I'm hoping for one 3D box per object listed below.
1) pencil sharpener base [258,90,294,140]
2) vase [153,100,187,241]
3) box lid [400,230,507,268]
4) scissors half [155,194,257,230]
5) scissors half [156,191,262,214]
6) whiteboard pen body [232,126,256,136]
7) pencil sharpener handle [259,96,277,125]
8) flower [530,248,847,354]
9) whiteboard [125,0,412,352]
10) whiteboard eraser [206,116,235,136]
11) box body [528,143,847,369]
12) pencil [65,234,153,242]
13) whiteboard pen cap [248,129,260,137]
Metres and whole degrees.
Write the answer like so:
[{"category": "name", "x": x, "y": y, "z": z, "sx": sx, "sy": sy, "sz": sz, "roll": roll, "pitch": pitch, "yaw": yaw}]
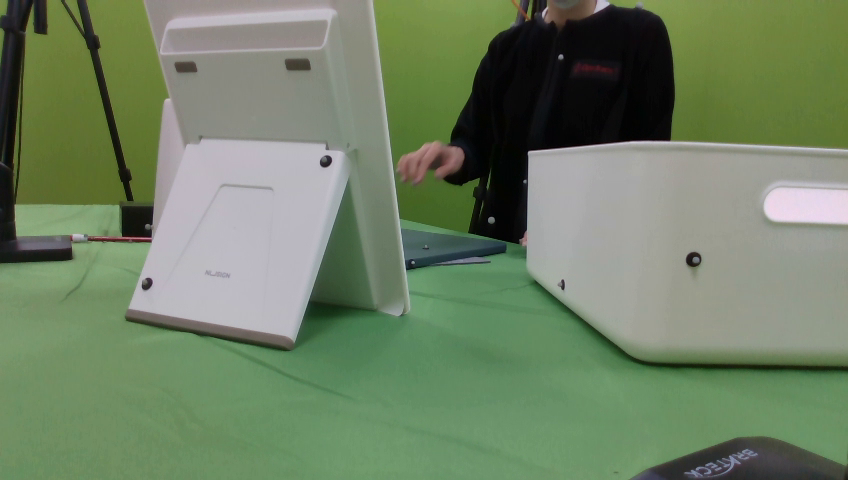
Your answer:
[{"category": "pencil sharpener base", "x": -0.341, "y": -0.285, "z": 1.388, "sx": 0.062, "sy": 0.107, "sz": 0.076, "roll": -3, "pitch": 9, "yaw": -36}, {"category": "vase", "x": -0.278, "y": -0.066, "z": 0.736, "sx": 0.098, "sy": 0.200, "sz": 0.098, "roll": 2, "pitch": 9, "yaw": 0}, {"category": "box lid", "x": -0.065, "y": 0.011, "z": 0.933, "sx": 0.262, "sy": 0.015, "sz": 0.373, "roll": 7, "pitch": 8, "yaw": 36}, {"category": "scissors half", "x": -0.378, "y": -0.051, "z": 1.058, "sx": 0.176, "sy": 0.040, "sz": 0.012, "roll": 20, "pitch": 22, "yaw": -31}, {"category": "scissors half", "x": -0.371, "y": -0.069, "z": 1.051, "sx": 0.176, "sy": 0.040, "sz": 0.013, "roll": 2, "pitch": 25, "yaw": -24}, {"category": "whiteboard pen body", "x": -0.407, "y": -0.247, "z": 1.372, "sx": 0.017, "sy": 0.017, "sz": 0.140, "roll": -3, "pitch": 13, "yaw": -35}, {"category": "pencil sharpener handle", "x": -0.373, "y": -0.304, "z": 1.425, "sx": 0.036, "sy": 0.067, "sz": 0.030, "roll": 13, "pitch": -1, "yaw": -37}, {"category": "flower", "x": 0.251, "y": 0.060, "z": 0.602, "sx": 0.044, "sy": 0.038, "sz": 0.359, "roll": 34, "pitch": -11, "yaw": -40}, {"category": "whiteboard", "x": -0.151, "y": -0.049, "z": 0.472, "sx": 0.216, "sy": 0.305, "sz": 0.144, "roll": 6, "pitch": 27, "yaw": 24}, {"category": "whiteboard eraser", "x": -0.449, "y": -0.251, "z": 1.335, "sx": 0.056, "sy": 0.042, "sz": 0.112, "roll": 1, "pitch": 7, "yaw": -22}, {"category": "box body", "x": 0.257, "y": -0.005, "z": 0.591, "sx": 0.254, "sy": 0.160, "sz": 0.363, "roll": 2, "pitch": 7, "yaw": -4}, {"category": "pencil", "x": -0.429, "y": -0.001, "z": 0.911, "sx": 0.195, "sy": 0.012, "sz": 0.012, "roll": 1, "pitch": 8, "yaw": -20}, {"category": "whiteboard pen cap", "x": -0.373, "y": -0.235, "z": 1.326, "sx": 0.018, "sy": 0.018, "sz": 0.033, "roll": -3, "pitch": 12, "yaw": -35}]
